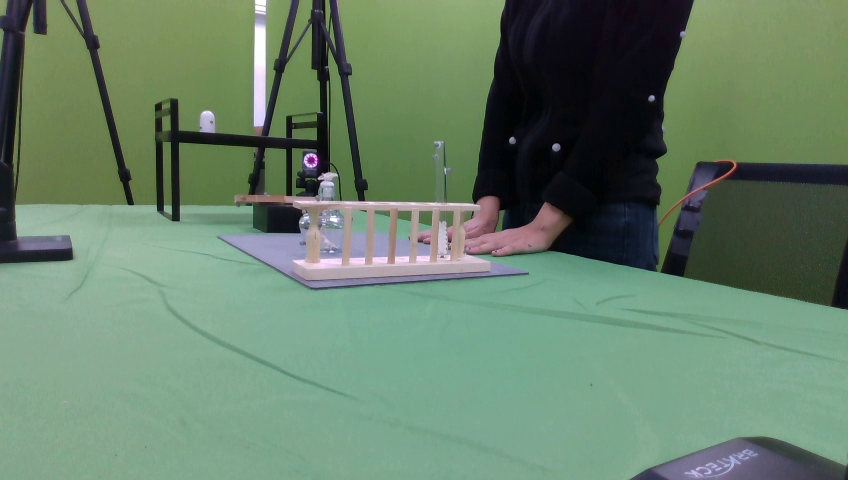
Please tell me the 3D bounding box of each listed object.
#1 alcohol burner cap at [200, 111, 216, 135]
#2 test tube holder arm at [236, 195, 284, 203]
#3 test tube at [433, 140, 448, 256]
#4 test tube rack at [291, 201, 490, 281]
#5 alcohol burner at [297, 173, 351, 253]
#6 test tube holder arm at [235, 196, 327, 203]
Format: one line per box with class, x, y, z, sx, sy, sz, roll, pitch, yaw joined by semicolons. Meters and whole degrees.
alcohol burner cap;-0.448;-0.243;1.254;0.034;0.048;0.034;2;7;0
test tube holder arm;-0.305;-0.076;1.123;0.088;0.015;0.010;-2;3;-32
test tube;0.021;-0.054;0.786;0.017;0.150;0.017;-2;8;1
test tube rack;-0.035;-0.002;0.745;0.243;0.085;0.066;-1;8;-28
alcohol burner;-0.146;-0.040;0.894;0.078;0.119;0.078;5;7;0
test tube holder arm;-0.269;-0.077;1.153;0.179;0.015;0.013;-2;3;-34
